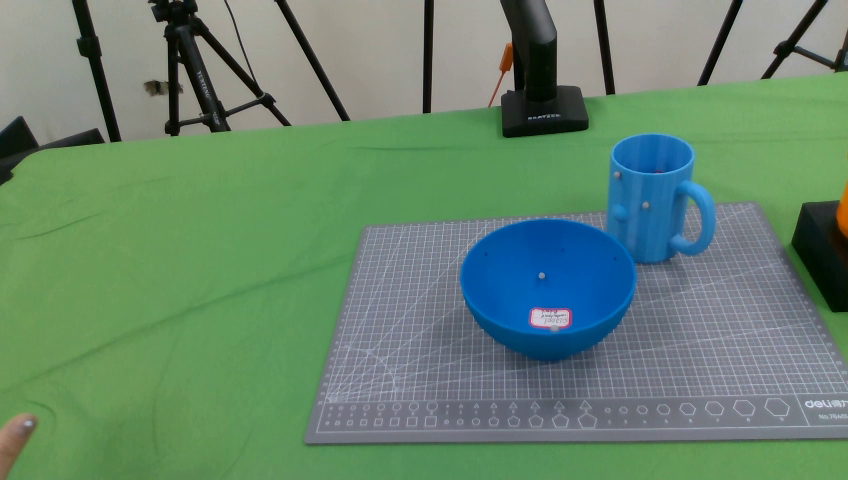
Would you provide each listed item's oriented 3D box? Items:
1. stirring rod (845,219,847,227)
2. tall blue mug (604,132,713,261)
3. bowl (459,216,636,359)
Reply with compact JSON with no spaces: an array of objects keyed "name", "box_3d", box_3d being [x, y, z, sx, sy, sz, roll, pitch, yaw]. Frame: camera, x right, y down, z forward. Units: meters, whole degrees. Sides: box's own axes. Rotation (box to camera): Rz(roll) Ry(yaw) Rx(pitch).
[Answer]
[{"name":"stirring rod","box_3d":[0.431,-0.069,0.501,0.176,0.006,0.014,-47,33,23]},{"name":"tall blue mug","box_3d":[0.238,-0.040,0.607,0.106,0.109,0.077,14,44,27]},{"name":"bowl","box_3d":[0.110,0.054,0.546,0.151,0.077,0.150,-6,39,5]}]
